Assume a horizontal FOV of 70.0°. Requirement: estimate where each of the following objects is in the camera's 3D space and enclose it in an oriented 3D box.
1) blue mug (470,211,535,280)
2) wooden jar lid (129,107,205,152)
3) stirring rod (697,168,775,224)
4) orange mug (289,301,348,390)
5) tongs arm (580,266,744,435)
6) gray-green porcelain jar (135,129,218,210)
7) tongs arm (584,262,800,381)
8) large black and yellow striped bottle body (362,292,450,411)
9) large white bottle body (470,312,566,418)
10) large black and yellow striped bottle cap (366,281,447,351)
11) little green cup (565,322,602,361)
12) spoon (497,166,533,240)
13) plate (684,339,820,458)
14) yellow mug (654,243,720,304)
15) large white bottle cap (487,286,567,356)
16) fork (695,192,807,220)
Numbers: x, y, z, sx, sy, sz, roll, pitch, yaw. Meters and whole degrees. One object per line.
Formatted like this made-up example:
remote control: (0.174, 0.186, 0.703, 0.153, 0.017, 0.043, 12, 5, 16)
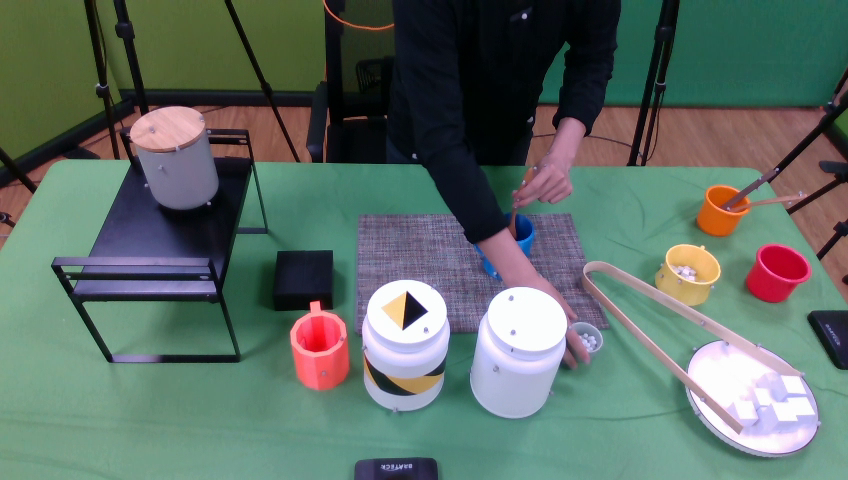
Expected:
blue mug: (0.141, 0.005, 1.139, 0.116, 0.106, 0.082, 20, 49, 14)
wooden jar lid: (-0.385, -0.163, 0.915, 0.108, 0.021, 0.107, 2, 47, -2)
stirring rod: (0.644, -0.090, 1.252, 0.176, 0.006, 0.014, -39, 53, 16)
orange mug: (-0.170, 0.162, 0.976, 0.083, 0.101, 0.125, -7, 52, -11)
tongs arm: (0.384, 0.173, 1.028, 0.028, 0.028, 0.385, -25, 46, -15)
gray-green porcelain jar: (-0.388, -0.120, 0.960, 0.106, 0.127, 0.105, 2, 46, -2)
tongs arm: (0.452, 0.137, 1.064, 0.051, 0.027, 0.382, -34, 50, -27)
large black and yellow striped bottle body: (-0.029, 0.163, 0.928, 0.131, 0.185, 0.130, 2, 47, -2)
large white bottle body: (0.143, 0.173, 0.930, 0.131, 0.185, 0.130, 2, 46, -2)
large black and yellow striped bottle cap: (-0.025, 0.106, 0.865, 0.115, 0.019, 0.114, 2, 46, -1)
little green cup: (0.271, 0.175, 1.038, 0.061, 0.039, 0.061, 3, 46, -3)
spoon: (0.161, -0.058, 1.103, 0.042, 0.194, 0.021, -7, 43, -23)
plate: (0.523, 0.256, 0.982, 0.208, 0.039, 0.206, 2, 46, -2)
yellow mug: (0.504, 0.054, 1.154, 0.099, 0.064, 0.130, 28, 50, 22)
large white bottle cap: (0.147, 0.114, 0.869, 0.115, 0.018, 0.114, 3, 46, -3)
fork: (0.655, -0.069, 1.224, 0.207, 0.019, 0.028, -17, 34, 45)
